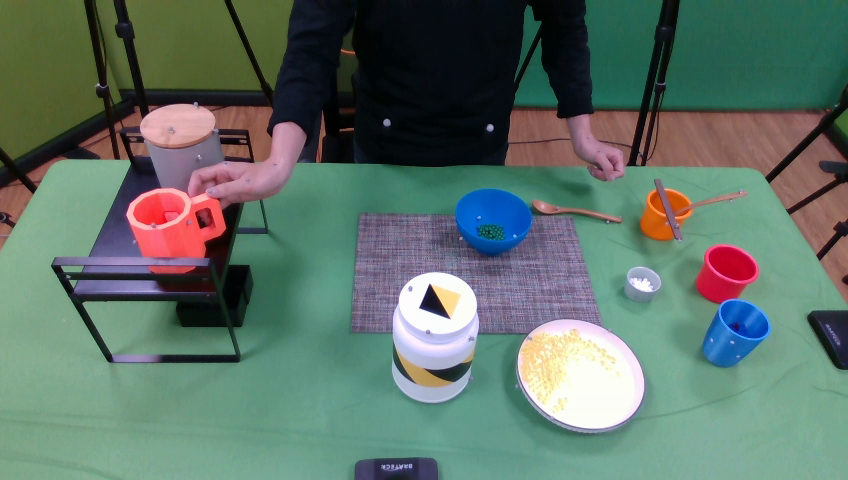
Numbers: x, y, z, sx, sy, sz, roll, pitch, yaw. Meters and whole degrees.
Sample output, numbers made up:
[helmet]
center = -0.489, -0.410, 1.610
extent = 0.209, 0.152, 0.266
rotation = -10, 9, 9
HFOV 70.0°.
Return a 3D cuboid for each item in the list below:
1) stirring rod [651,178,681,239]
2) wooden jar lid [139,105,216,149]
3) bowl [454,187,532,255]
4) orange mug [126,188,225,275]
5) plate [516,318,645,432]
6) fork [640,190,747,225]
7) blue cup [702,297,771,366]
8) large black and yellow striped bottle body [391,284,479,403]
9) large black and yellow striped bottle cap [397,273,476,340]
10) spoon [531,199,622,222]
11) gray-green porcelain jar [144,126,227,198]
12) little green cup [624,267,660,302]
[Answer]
[stirring rod]
center = 0.480, -0.065, 1.204
extent = 0.014, 0.006, 0.175
rotation = 2, 46, -3
[wooden jar lid]
center = -0.372, -0.169, 0.920
extent = 0.108, 0.021, 0.107
rotation = 4, 44, -4
[bowl]
center = 0.131, -0.025, 1.187
extent = 0.151, 0.077, 0.150
rotation = 2, 46, -2
[orange mug]
center = -0.357, -0.020, 0.885
extent = 0.126, 0.101, 0.083
rotation = -29, 54, -23
[plate]
center = 0.253, 0.221, 0.992
extent = 0.209, 0.038, 0.208
rotation = 2, 46, -2
[fork]
center = 0.533, -0.065, 1.211
extent = 0.207, 0.019, 0.028
rotation = -22, 28, 39
[blue cup]
center = 0.519, 0.162, 1.025
extent = 0.093, 0.101, 0.092
rotation = 3, 45, -3
[large black and yellow striped bottle body]
center = 0.015, 0.153, 0.938
extent = 0.131, 0.185, 0.130
rotation = 2, 46, -2
[large black and yellow striped bottle cap]
center = 0.018, 0.094, 0.878
extent = 0.115, 0.019, 0.114
rotation = 3, 46, -3
[spoon]
center = 0.321, -0.060, 1.279
extent = 0.194, 0.022, 0.041
rotation = 8, 32, 4
[gray-green porcelain jar]
center = -0.375, -0.125, 0.967
extent = 0.106, 0.127, 0.105
rotation = 2, 46, -2
[little green cup]
center = 0.406, 0.084, 1.135
extent = 0.061, 0.039, 0.061
rotation = 3, 45, -3
